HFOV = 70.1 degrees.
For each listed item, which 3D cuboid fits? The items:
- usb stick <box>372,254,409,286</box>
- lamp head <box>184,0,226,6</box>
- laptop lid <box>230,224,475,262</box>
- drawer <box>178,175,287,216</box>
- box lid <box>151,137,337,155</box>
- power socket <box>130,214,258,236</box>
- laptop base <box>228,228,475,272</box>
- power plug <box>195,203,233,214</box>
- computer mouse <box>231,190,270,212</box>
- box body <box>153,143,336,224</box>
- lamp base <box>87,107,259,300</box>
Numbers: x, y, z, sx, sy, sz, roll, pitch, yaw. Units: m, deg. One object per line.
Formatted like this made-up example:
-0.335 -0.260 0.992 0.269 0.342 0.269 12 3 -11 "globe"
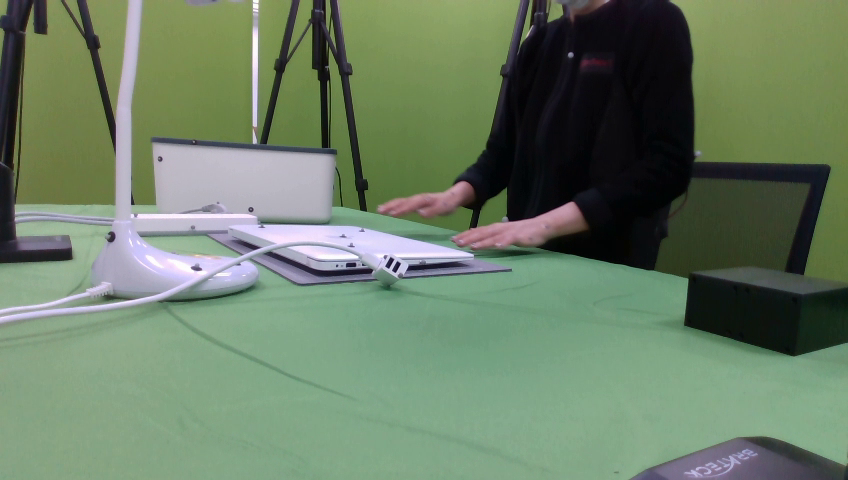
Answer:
-0.039 0.035 0.663 0.027 0.021 0.059 29 -21 -7 "usb stick"
-0.229 -0.320 0.627 0.112 0.112 0.123 6 -36 26 "lamp head"
-0.119 0.000 0.889 0.243 0.013 0.355 1 7 -33 "laptop lid"
-0.414 -0.103 1.341 0.212 0.073 0.194 5 6 -11 "drawer"
-0.379 -0.203 1.334 0.372 0.015 0.262 2 7 -9 "box lid"
-0.398 -0.028 1.049 0.228 0.032 0.072 -3 7 -34 "power socket"
-0.122 0.012 0.889 0.237 0.023 0.352 1 7 -35 "laptop base"
-0.392 -0.043 1.140 0.072 0.052 0.035 -11 1 37 "power plug"
-0.382 -0.086 1.342 0.063 0.041 0.117 10 10 -4 "computer mouse"
-0.380 -0.130 1.344 0.365 0.160 0.253 1 7 -9 "box body"
-0.254 -0.039 0.603 0.160 0.180 0.179 5 10 18 "lamp base"
